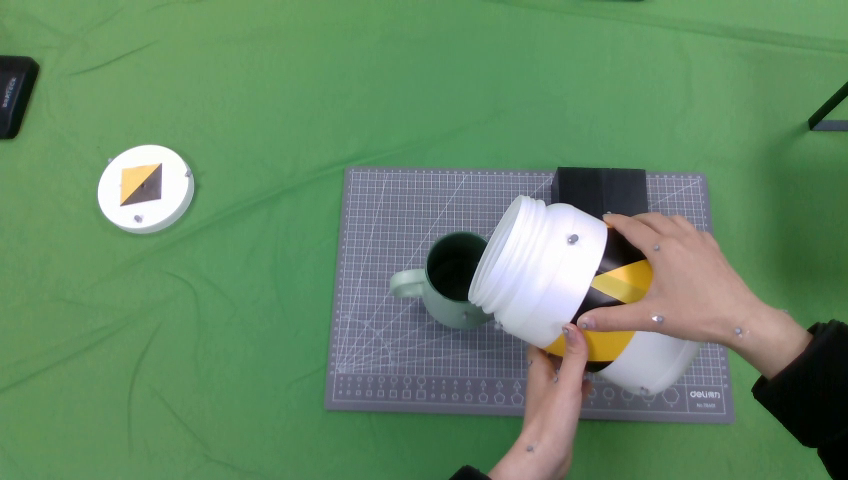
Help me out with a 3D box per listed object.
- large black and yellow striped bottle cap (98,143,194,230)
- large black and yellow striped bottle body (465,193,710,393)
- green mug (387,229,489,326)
[{"bbox_3d":[-0.348,-0.068,0.757,0.115,0.019,0.114,0,70,1],"label":"large black and yellow striped bottle cap"},{"bbox_3d":[0.143,0.045,0.553,0.184,0.131,0.130,26,73,-2],"label":"large black and yellow striped bottle body"},{"bbox_3d":[0.022,0.043,0.663,0.125,0.105,0.092,-5,71,-1],"label":"green mug"}]
